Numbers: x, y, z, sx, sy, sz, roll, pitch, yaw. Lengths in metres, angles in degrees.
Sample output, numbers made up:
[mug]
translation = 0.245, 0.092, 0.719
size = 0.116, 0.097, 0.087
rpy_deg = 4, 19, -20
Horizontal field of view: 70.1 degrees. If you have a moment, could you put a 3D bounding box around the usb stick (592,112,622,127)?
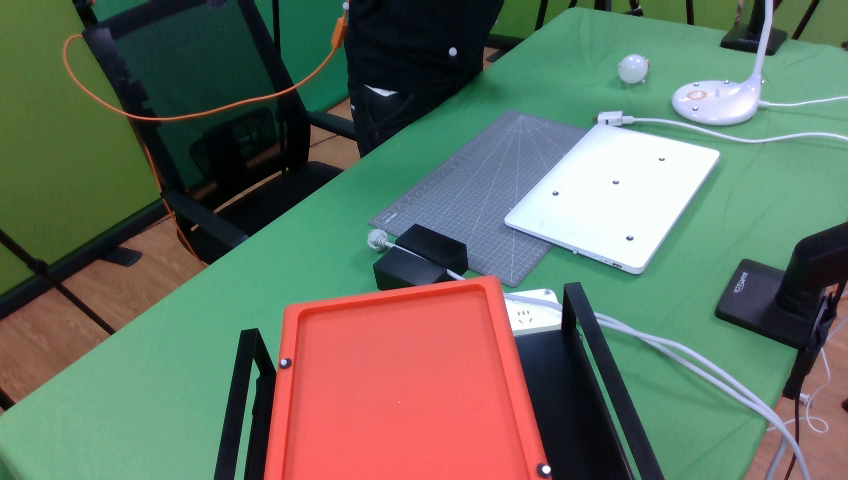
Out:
[usb stick]
translation = 0.360, -0.239, 1.196
size = 0.059, 0.021, 0.027
rpy_deg = 4, 42, 27

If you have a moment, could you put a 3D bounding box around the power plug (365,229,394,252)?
[power plug]
translation = -0.067, 0.010, 0.954
size = 0.035, 0.053, 0.072
rpy_deg = -41, 53, 2

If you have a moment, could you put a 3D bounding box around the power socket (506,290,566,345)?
[power socket]
translation = 0.081, 0.112, 0.822
size = 0.227, 0.033, 0.072
rpy_deg = -7, 40, 0

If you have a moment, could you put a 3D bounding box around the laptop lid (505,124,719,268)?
[laptop lid]
translation = 0.323, -0.093, 1.021
size = 0.240, 0.013, 0.358
rpy_deg = 23, 49, 32

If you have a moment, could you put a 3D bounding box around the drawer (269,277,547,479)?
[drawer]
translation = -0.018, 0.137, 0.493
size = 0.195, 0.073, 0.210
rpy_deg = -7, 41, -1

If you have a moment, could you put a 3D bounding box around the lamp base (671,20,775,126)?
[lamp base]
translation = 0.582, -0.332, 1.153
size = 0.179, 0.181, 0.160
rpy_deg = 2, 42, 7

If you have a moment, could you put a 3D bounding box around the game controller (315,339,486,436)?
[game controller]
translation = -0.021, 0.119, 0.534
size = 0.155, 0.052, 0.096
rpy_deg = -3, 39, 1

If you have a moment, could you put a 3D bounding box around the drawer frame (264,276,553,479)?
[drawer frame]
translation = -0.016, 0.137, 0.490
size = 0.202, 0.083, 0.212
rpy_deg = -8, 41, -1

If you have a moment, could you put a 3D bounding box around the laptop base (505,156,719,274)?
[laptop base]
translation = 0.326, -0.083, 1.028
size = 0.233, 0.023, 0.355
rpy_deg = 21, 48, 32

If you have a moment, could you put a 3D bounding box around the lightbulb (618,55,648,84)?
[lightbulb]
translation = 0.464, -0.376, 1.324
size = 0.059, 0.059, 0.108
rpy_deg = 22, 33, 30
